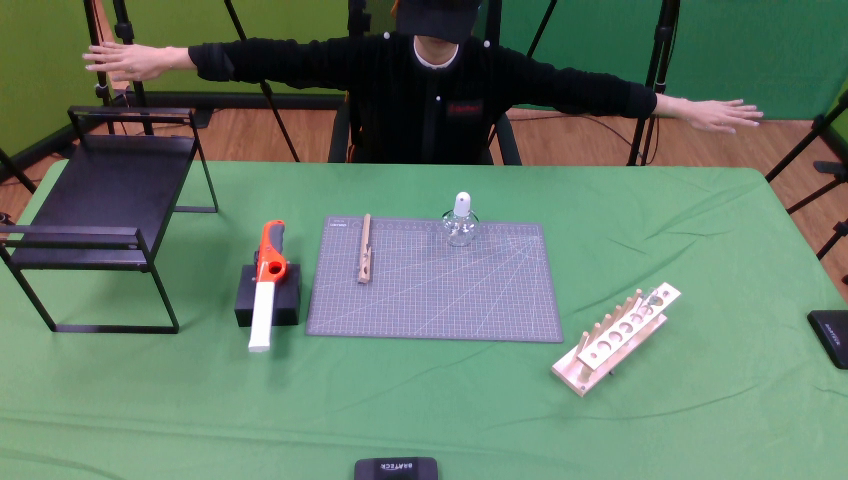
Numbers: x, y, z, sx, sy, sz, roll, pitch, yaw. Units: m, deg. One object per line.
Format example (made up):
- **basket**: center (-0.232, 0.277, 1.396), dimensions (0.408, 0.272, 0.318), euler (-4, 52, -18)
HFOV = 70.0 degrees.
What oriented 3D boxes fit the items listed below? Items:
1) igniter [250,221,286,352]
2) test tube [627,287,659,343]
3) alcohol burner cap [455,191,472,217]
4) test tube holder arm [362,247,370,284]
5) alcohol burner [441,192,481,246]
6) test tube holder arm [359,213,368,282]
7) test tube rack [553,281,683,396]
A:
- **igniter**: center (-0.269, 0.068, 1.042), dimensions (0.057, 0.025, 0.274), euler (0, 48, -7)
- **test tube**: center (0.351, 0.125, 0.983), dimensions (0.017, 0.151, 0.017), euler (1, 50, -1)
- **alcohol burner cap**: center (0.076, -0.071, 1.151), dimensions (0.034, 0.048, 0.033), euler (2, 43, -2)
- **test tube holder arm**: center (-0.109, 0.046, 1.144), dimensions (0.010, 0.015, 0.087), euler (29, 37, -28)
- **alcohol burner**: center (0.073, -0.046, 1.176), dimensions (0.078, 0.119, 0.077), euler (2, 44, -2)
- **test tube holder arm**: center (-0.116, 0.011, 1.172), dimensions (0.013, 0.015, 0.177), euler (28, 37, -29)
- **test tube rack**: center (0.329, 0.153, 1.022), dimensions (0.242, 0.085, 0.066), euler (-30, 54, -28)
